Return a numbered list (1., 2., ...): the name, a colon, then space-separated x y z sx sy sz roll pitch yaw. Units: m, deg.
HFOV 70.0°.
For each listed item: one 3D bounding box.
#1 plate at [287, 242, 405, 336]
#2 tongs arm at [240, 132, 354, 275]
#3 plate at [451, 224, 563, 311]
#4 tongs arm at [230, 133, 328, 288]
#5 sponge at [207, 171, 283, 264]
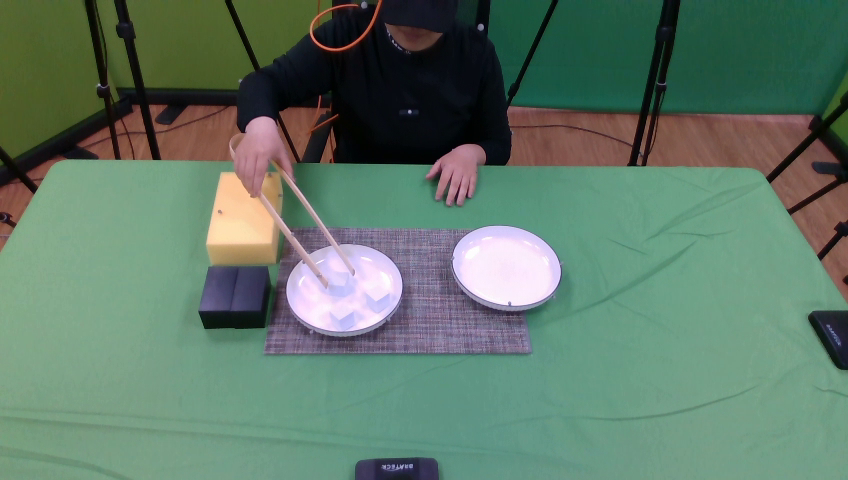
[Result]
1. plate: -0.138 0.090 1.085 0.208 0.039 0.206 2 46 -2
2. tongs arm: -0.244 -0.078 1.150 0.028 0.028 0.385 -31 66 -22
3. plate: 0.154 0.053 1.140 0.209 0.038 0.208 2 46 -2
4. tongs arm: -0.271 -0.064 1.136 0.051 0.026 0.383 -31 66 -26
5. sponge: -0.346 -0.048 1.191 0.118 0.061 0.205 -2 46 -7
